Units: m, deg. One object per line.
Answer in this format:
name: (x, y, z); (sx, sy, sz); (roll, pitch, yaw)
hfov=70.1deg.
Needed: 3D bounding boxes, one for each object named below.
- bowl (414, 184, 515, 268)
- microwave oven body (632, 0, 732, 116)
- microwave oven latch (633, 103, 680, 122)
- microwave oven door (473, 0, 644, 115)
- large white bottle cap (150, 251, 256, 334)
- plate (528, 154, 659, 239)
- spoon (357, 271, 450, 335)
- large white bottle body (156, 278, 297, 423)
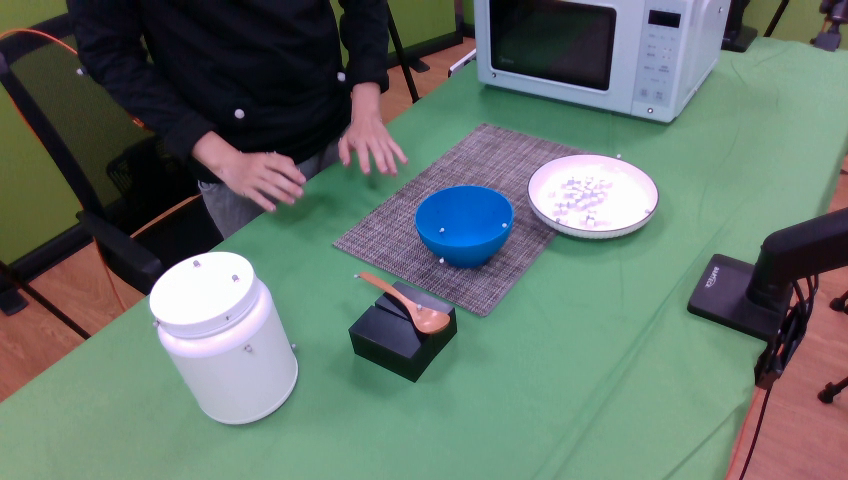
bowl: (0.063, -0.010, 0.922); (0.151, 0.077, 0.150); (-4, 40, 4)
microwave oven body: (0.377, -0.462, 1.267); (0.438, 0.261, 0.327); (21, 48, 30)
microwave oven latch: (0.444, -0.249, 1.157); (0.078, 0.029, 0.030); (21, 48, 30)
microwave oven door: (0.257, -0.396, 1.199); (0.353, 0.245, 0.039); (21, 48, 29)
large white bottle cap: (-0.248, 0.056, 0.680); (0.115, 0.018, 0.114); (-4, 41, 4)
plate: (0.274, -0.069, 0.993); (0.209, 0.038, 0.208); (-2, 42, 2)
spoon: (-0.034, 0.078, 0.812); (0.042, 0.022, 0.192); (-36, 43, -23)
large white bottle body: (-0.239, 0.120, 0.735); (0.130, 0.185, 0.130); (-4, 41, 4)
